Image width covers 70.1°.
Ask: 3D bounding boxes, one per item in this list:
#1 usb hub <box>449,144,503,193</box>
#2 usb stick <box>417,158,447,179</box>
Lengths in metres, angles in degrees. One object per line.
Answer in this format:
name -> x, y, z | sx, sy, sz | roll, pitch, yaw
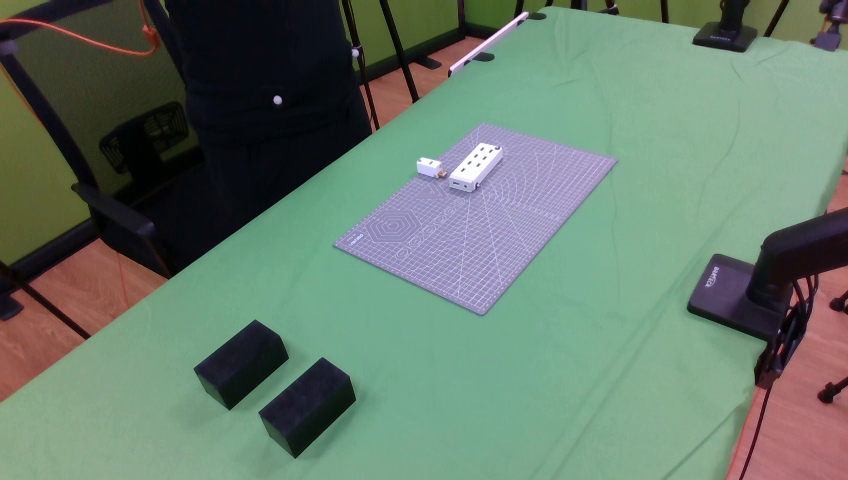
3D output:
usb hub -> 0.096, -0.132, 1.105 | 0.049, 0.025, 0.125 | 18, 47, 27
usb stick -> 0.016, -0.130, 1.114 | 0.059, 0.027, 0.021 | 21, 44, 25
